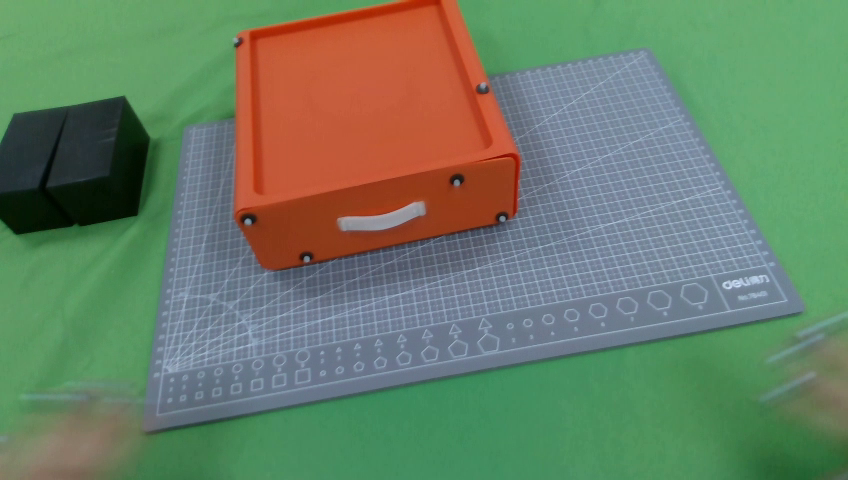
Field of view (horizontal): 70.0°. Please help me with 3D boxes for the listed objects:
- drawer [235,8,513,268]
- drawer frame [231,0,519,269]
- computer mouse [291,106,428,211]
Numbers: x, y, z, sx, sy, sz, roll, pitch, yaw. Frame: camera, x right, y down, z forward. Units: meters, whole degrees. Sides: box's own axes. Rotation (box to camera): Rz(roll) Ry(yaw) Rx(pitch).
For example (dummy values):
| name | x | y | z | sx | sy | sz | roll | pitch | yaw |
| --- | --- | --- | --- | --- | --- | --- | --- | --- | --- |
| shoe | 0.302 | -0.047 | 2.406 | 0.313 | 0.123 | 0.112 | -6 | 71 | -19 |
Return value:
| name | x | y | z | sx | sy | sz | roll | pitch | yaw |
| --- | --- | --- | --- | --- | --- | --- | --- | --- | --- |
| drawer | -0.048 | -0.093 | 0.497 | 0.194 | 0.074 | 0.209 | -12 | 52 | -2 |
| drawer frame | -0.049 | -0.096 | 0.497 | 0.202 | 0.083 | 0.211 | -13 | 52 | -3 |
| computer mouse | -0.054 | -0.067 | 0.480 | 0.117 | 0.041 | 0.062 | -17 | 54 | 11 |
